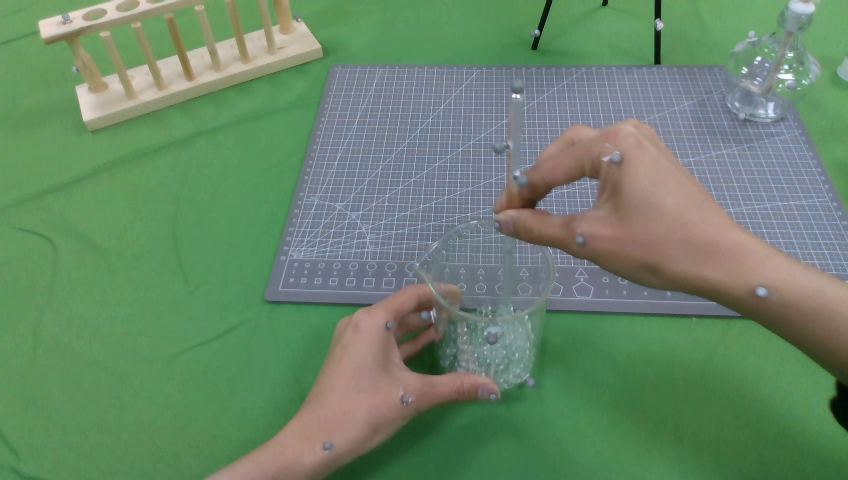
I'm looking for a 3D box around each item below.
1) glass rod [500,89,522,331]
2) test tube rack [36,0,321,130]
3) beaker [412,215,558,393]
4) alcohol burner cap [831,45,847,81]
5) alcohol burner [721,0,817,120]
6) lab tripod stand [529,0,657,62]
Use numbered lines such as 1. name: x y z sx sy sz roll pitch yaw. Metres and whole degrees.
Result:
1. glass rod: 0.048 -0.002 0.347 0.008 0.201 0.008 -3 50 4
2. test tube rack: -0.234 -0.199 0.603 0.242 0.086 0.066 -23 53 -15
3. beaker: 0.037 0.045 0.381 0.084 0.101 0.073 4 51 7
4. alcohol burner cap: 0.421 -0.181 0.583 0.034 0.048 0.033 -1 50 2
5. alcohol burner: 0.306 -0.165 0.525 0.078 0.120 0.077 -1 53 2
6. lab tripod stand: 0.183 -0.260 0.601 0.148 0.132 0.147 0 50 1
